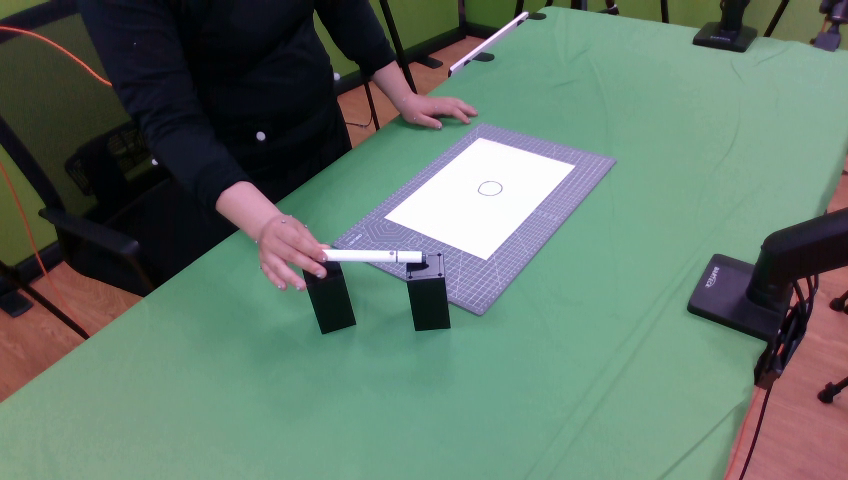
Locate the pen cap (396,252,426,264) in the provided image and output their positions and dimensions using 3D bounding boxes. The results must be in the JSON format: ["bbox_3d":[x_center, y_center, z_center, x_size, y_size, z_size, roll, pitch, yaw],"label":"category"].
[{"bbox_3d":[-0.017,0.023,0.794,0.038,0.017,0.017,-1,40,0],"label":"pen cap"}]

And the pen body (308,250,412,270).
[{"bbox_3d":[-0.080,0.025,0.796,0.144,0.017,0.017,-6,40,2],"label":"pen body"}]
